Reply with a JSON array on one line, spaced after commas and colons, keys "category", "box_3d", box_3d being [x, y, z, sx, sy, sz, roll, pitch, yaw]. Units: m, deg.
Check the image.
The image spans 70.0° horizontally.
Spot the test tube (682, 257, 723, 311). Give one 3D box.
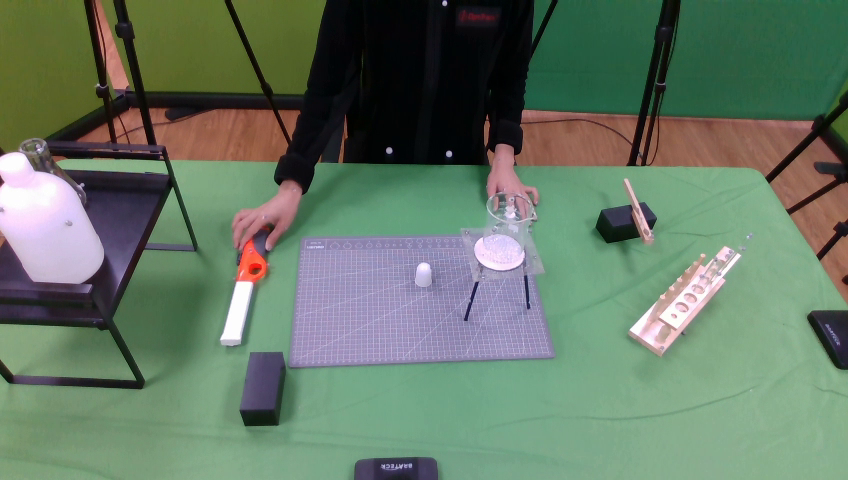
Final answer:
[{"category": "test tube", "box_3d": [0.475, 0.080, 1.037, 0.017, 0.151, 0.017, 1, 51, -1]}]

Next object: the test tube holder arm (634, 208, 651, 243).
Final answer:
[{"category": "test tube holder arm", "box_3d": [0.428, -0.030, 1.189, 0.010, 0.015, 0.087, 1, 47, -2]}]

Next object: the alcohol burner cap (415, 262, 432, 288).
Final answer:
[{"category": "alcohol burner cap", "box_3d": [0.000, 0.061, 1.119, 0.034, 0.048, 0.033, 3, 43, -3]}]

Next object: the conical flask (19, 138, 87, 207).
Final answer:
[{"category": "conical flask", "box_3d": [-0.576, -0.097, 0.930, 0.075, 0.122, 0.075, 2, 46, -2]}]

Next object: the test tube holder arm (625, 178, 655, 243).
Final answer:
[{"category": "test tube holder arm", "box_3d": [0.433, -0.062, 1.220, 0.013, 0.015, 0.177, 1, 47, -3]}]

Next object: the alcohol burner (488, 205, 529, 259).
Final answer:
[{"category": "alcohol burner", "box_3d": [0.163, -0.020, 1.158, 0.078, 0.120, 0.077, 0, 47, 0]}]

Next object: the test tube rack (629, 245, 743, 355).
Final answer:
[{"category": "test tube rack", "box_3d": [0.474, 0.095, 1.091, 0.242, 0.085, 0.066, -34, 56, -31]}]

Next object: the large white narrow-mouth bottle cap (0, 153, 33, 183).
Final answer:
[{"category": "large white narrow-mouth bottle cap", "box_3d": [-0.510, -0.090, 0.754, 0.038, 0.024, 0.037, 2, 46, -2]}]

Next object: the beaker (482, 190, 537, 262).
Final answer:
[{"category": "beaker", "box_3d": [0.136, -0.019, 0.983, 0.084, 0.101, 0.073, 17, 47, 14]}]

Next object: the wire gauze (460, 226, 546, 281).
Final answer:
[{"category": "wire gauze", "box_3d": [0.130, 0.017, 1.016, 0.121, 0.011, 0.124, -4, 43, -9]}]

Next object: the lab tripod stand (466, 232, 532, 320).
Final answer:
[{"category": "lab tripod stand", "box_3d": [0.125, 0.059, 1.065, 0.148, 0.132, 0.147, 1, 45, 0]}]

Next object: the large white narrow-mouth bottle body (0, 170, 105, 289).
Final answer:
[{"category": "large white narrow-mouth bottle body", "box_3d": [-0.513, -0.029, 0.818, 0.102, 0.195, 0.101, 2, 46, -2]}]

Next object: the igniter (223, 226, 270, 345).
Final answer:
[{"category": "igniter", "box_3d": [-0.320, 0.072, 1.100, 0.057, 0.025, 0.274, 2, 45, -3]}]

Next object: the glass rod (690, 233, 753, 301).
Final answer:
[{"category": "glass rod", "box_3d": [0.507, 0.053, 1.041, 0.008, 0.200, 0.008, 5, 51, -6]}]
